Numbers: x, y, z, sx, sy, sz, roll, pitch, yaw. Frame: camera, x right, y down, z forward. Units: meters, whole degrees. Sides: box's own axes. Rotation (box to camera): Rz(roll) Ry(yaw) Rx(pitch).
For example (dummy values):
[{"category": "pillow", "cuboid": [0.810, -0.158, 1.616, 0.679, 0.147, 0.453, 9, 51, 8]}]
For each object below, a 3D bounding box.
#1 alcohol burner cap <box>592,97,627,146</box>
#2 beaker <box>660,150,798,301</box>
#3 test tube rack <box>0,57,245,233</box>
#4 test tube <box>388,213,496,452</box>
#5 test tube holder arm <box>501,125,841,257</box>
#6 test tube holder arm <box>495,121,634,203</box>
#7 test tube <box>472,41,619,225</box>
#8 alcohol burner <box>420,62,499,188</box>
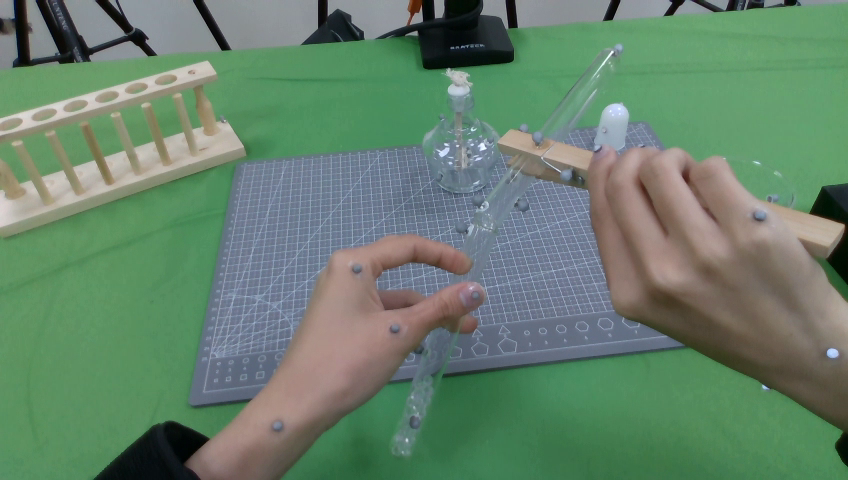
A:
[{"category": "alcohol burner cap", "cuboid": [0.194, -0.126, 0.632, 0.034, 0.048, 0.033, -2, 44, 2]}, {"category": "beaker", "cuboid": [0.225, -0.009, 0.468, 0.074, 0.101, 0.083, -28, 48, -23]}, {"category": "test tube rack", "cuboid": [-0.317, -0.100, 0.609, 0.243, 0.086, 0.066, -23, 47, -20]}, {"category": "test tube", "cuboid": [0.009, 0.056, 0.345, 0.017, 0.151, 0.017, 19, 12, -4]}, {"category": "test tube holder arm", "cuboid": [0.102, -0.030, 0.294, 0.015, 0.013, 0.176, -44, 43, -17]}, {"category": "test tube holder arm", "cuboid": [0.075, -0.044, 0.328, 0.015, 0.010, 0.087, -44, 51, -16]}, {"category": "test tube", "cuboid": [0.074, -0.066, 0.354, 0.017, 0.017, 0.150, 27, 66, 28]}, {"category": "alcohol burner", "cuboid": [0.034, -0.110, 0.574, 0.078, 0.120, 0.077, -3, 43, 3]}]
